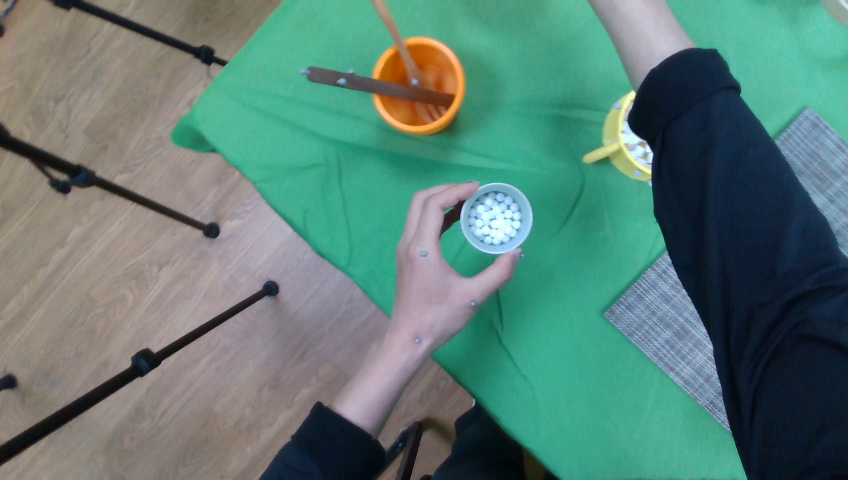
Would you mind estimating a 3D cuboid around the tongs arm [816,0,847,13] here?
[{"bbox_3d":[0.331,-0.396,0.574,0.051,0.026,0.384,-19,90,2],"label":"tongs arm"}]

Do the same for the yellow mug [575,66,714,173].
[{"bbox_3d":[0.218,-0.113,0.617,0.131,0.064,0.100,-22,92,6],"label":"yellow mug"}]

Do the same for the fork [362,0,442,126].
[{"bbox_3d":[-0.033,-0.194,0.586,0.028,0.018,0.210,-32,134,3],"label":"fork"}]

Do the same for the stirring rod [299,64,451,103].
[{"bbox_3d":[-0.042,-0.153,0.595,0.177,0.006,0.014,-1,95,-38],"label":"stirring rod"}]

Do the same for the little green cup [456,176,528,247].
[{"bbox_3d":[0.059,-0.025,0.534,0.061,0.038,0.061,0,94,4],"label":"little green cup"}]

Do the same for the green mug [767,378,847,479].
[{"bbox_3d":[0.420,0.183,0.597,0.125,0.105,0.092,-31,90,5],"label":"green mug"}]
